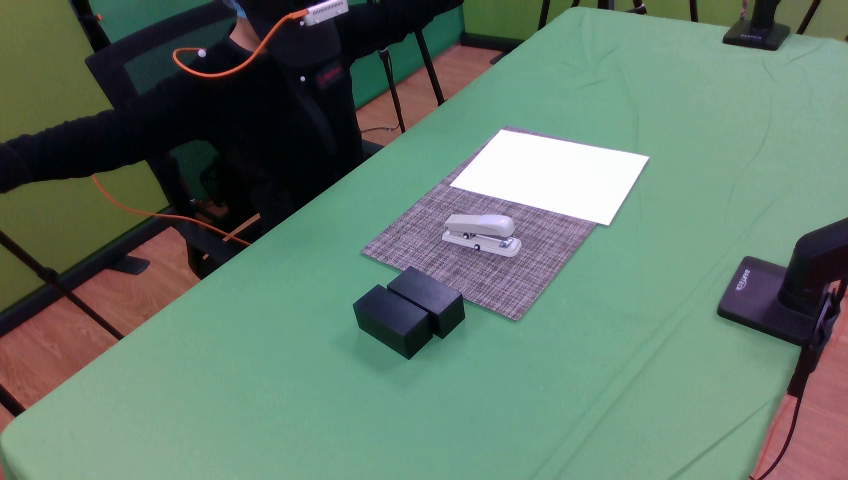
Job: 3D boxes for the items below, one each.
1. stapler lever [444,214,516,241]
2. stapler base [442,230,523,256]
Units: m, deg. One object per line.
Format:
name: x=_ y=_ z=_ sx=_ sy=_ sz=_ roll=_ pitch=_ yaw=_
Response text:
stapler lever: x=0.088 y=-0.026 z=0.952 sx=0.117 sy=0.040 sz=0.027 roll=13 pitch=42 yaw=27
stapler base: x=0.093 y=-0.007 z=0.967 sx=0.129 sy=0.024 sz=0.041 roll=13 pitch=42 yaw=27
